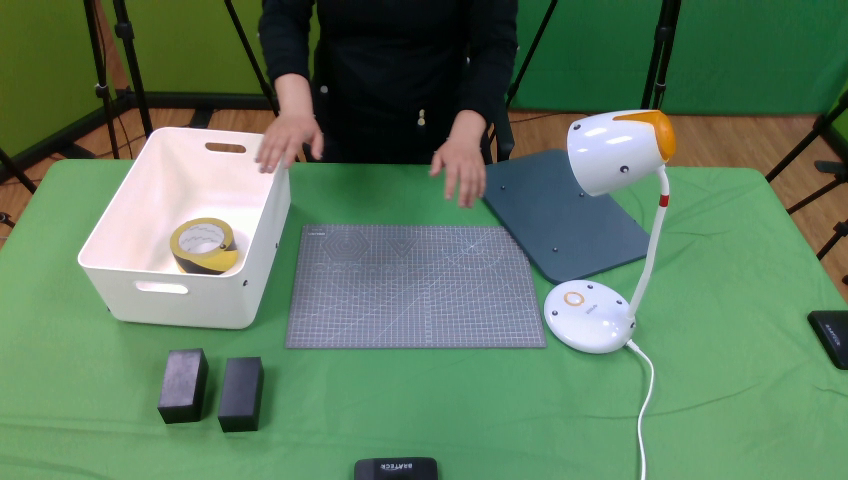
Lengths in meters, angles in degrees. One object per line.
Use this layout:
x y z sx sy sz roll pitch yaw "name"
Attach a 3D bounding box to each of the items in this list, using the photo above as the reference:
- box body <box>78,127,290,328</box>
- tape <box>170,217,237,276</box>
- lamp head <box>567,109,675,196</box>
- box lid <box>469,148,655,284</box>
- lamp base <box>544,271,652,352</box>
-0.400 -0.027 1.095 0.254 0.161 0.362 4 46 0 "box body"
-0.407 0.014 1.124 0.117 0.053 0.116 2 46 -2 "tape"
0.272 -0.123 0.818 0.122 0.113 0.112 -9 35 37 "lamp head"
0.285 -0.064 1.289 0.263 0.015 0.369 -16 49 -19 "box lid"
0.310 0.086 1.029 0.178 0.181 0.160 32 52 21 "lamp base"
